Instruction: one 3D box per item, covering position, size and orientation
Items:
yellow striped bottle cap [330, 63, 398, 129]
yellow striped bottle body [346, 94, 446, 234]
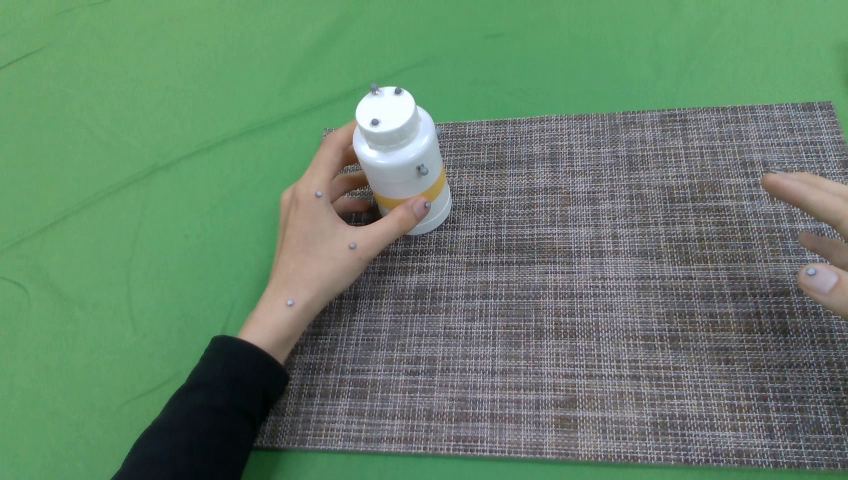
[{"bbox_3d":[-0.040,-0.098,0.412,0.044,0.019,0.044,-6,65,14],"label":"yellow striped bottle cap"},{"bbox_3d":[-0.022,-0.061,0.474,0.063,0.121,0.062,-5,59,8],"label":"yellow striped bottle body"}]
